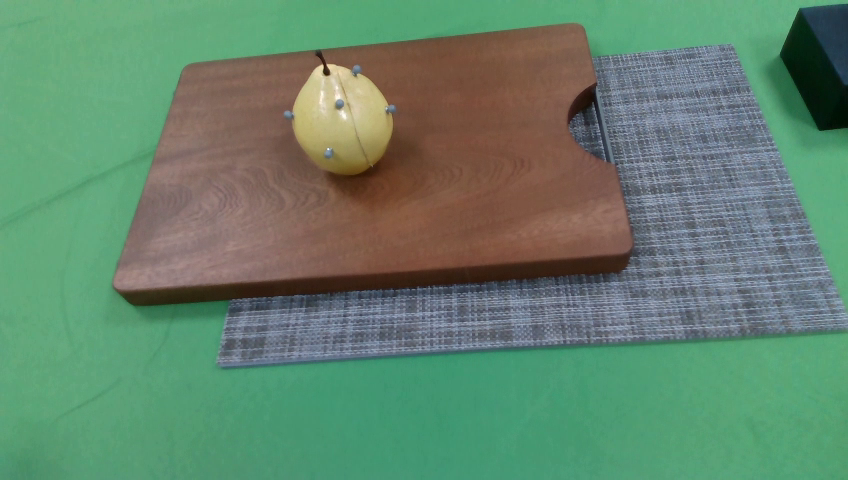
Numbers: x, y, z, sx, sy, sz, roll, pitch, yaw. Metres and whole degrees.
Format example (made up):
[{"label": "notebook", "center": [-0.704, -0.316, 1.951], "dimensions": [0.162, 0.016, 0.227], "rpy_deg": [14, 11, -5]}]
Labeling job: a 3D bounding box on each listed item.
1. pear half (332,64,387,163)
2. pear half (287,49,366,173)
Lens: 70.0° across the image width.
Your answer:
[{"label": "pear half", "center": [-0.048, -0.105, 0.484], "dimensions": [0.031, 0.089, 0.069], "rpy_deg": [-17, 52, -4]}, {"label": "pear half", "center": [-0.083, -0.102, 0.475], "dimensions": [0.056, 0.111, 0.075], "rpy_deg": [-18, 52, -4]}]
